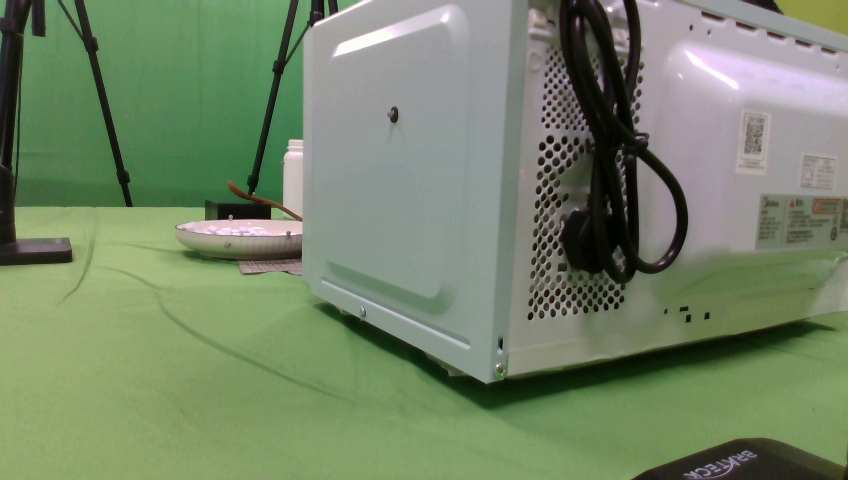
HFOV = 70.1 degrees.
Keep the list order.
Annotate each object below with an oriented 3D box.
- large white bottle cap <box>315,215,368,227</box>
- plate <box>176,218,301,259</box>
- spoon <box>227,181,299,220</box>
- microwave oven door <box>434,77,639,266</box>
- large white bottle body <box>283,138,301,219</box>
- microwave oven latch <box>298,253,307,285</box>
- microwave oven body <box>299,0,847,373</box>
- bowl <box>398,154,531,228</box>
[{"bbox_3d":[-0.177,-0.041,1.309,0.115,0.018,0.115,2,6,0],"label":"large white bottle cap"},{"bbox_3d":[-0.248,-0.003,0.877,0.209,0.038,0.209,1,8,0],"label":"plate"},{"bbox_3d":[-0.315,-0.074,1.235,0.195,0.021,0.041,24,-10,-37],"label":"spoon"},{"bbox_3d":[0.147,-0.107,0.905,0.039,0.243,0.354,-4,10,-40],"label":"microwave oven door"},{"bbox_3d":[-0.265,-0.144,1.423,0.131,0.184,0.130,2,7,0],"label":"large white bottle body"},{"bbox_3d":[-0.081,0.027,0.582,0.079,0.029,0.030,-1,7,-32],"label":"microwave oven latch"},{"bbox_3d":[0.151,-0.055,0.542,0.444,0.260,0.324,-2,7,-33],"label":"microwave oven body"},{"bbox_3d":[0.045,-0.054,0.686,0.151,0.077,0.151,1,5,0],"label":"bowl"}]
